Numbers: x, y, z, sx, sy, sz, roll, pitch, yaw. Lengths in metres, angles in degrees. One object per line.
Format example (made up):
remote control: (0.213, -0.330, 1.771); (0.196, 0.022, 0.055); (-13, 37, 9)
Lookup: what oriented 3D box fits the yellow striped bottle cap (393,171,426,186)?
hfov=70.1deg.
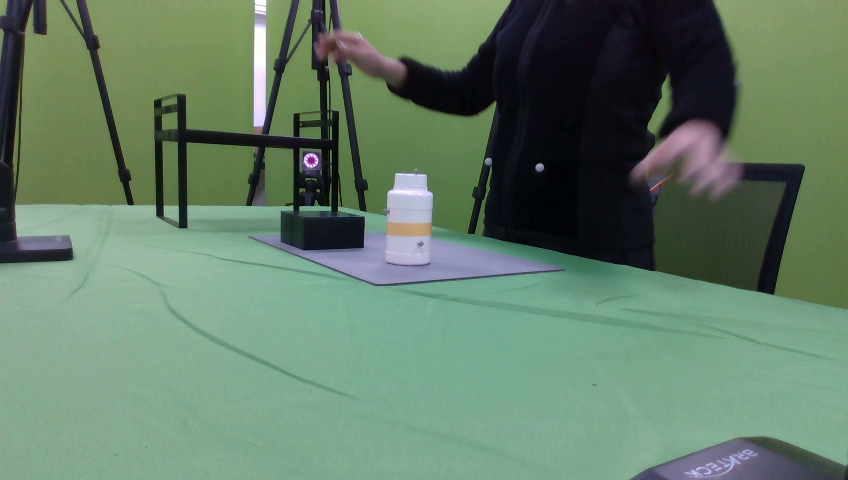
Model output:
yellow striped bottle cap: (-0.019, -0.082, 0.808); (0.044, 0.018, 0.044); (5, 8, 0)

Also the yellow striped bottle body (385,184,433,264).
yellow striped bottle body: (-0.020, -0.031, 0.815); (0.063, 0.120, 0.063); (2, 7, 0)
